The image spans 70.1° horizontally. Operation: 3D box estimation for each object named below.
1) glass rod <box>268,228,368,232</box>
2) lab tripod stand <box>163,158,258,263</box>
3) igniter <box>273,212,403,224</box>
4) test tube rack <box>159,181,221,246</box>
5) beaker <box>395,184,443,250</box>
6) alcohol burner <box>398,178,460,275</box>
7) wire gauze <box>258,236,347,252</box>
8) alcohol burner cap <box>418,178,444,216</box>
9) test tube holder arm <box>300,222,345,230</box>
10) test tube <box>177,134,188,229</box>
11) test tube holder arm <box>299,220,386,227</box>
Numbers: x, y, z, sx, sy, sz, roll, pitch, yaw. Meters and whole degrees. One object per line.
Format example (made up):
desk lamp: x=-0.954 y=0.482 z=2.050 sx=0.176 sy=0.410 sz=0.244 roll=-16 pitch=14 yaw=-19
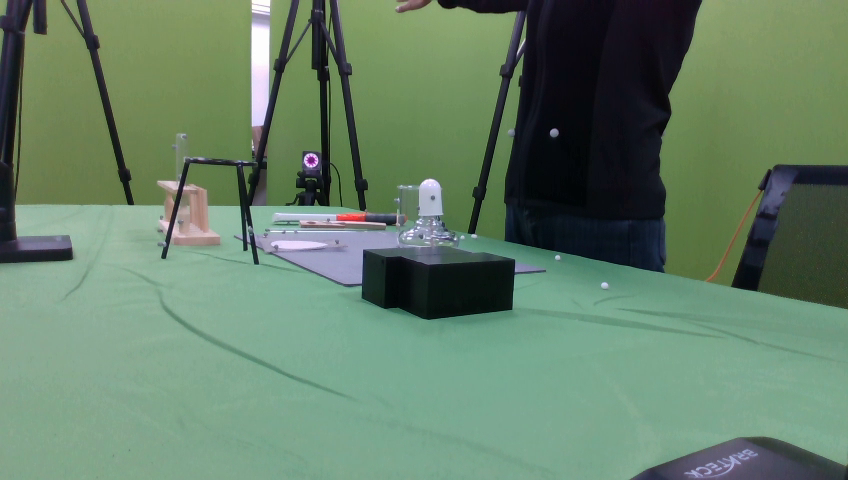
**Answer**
glass rod: x=-0.193 y=-0.018 z=1.128 sx=0.201 sy=0.008 sz=0.008 roll=0 pitch=7 yaw=-35
lab tripod stand: x=-0.265 y=-0.041 z=0.802 sx=0.148 sy=0.131 sz=0.148 roll=4 pitch=6 yaw=0
igniter: x=-0.179 y=-0.048 z=1.290 sx=0.278 sy=0.025 sz=0.057 roll=-1 pitch=-2 yaw=-24
test tube rack: x=-0.395 y=-0.050 z=1.010 sx=0.067 sy=0.085 sz=0.241 roll=-2 pitch=8 yaw=-28
beaker: x=-0.007 y=-0.037 z=0.965 sx=0.074 sy=0.100 sz=0.083 roll=-4 pitch=11 yaw=-40
alcohol burner: x=0.007 y=-0.017 z=0.751 sx=0.078 sy=0.119 sz=0.078 roll=3 pitch=9 yaw=0
wire gauze: x=-0.189 y=0.005 z=0.931 sx=0.122 sy=0.011 sz=0.124 roll=1 pitch=7 yaw=-21
alcohol burner cap: x=0.007 y=-0.053 z=0.745 sx=0.034 sy=0.048 sz=0.034 roll=-3 pitch=6 yaw=1
test tube holder arm: x=-0.196 y=-0.027 z=1.170 sx=0.088 sy=0.015 sz=0.010 roll=-1 pitch=44 yaw=-29
test tube: x=-0.374 y=-0.089 z=0.938 sx=0.017 sy=0.150 sz=0.017 roll=2 pitch=4 yaw=0
test tube holder arm: x=-0.159 y=-0.032 z=1.196 sx=0.179 sy=0.015 sz=0.013 roll=-2 pitch=45 yaw=-29
